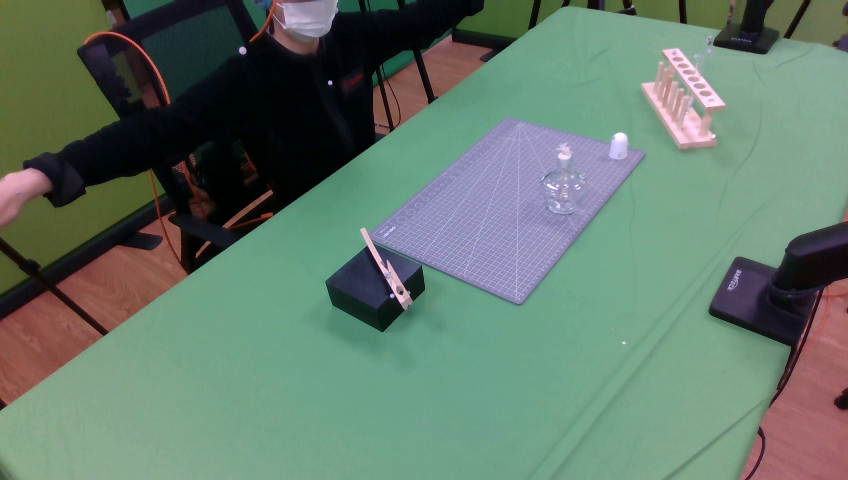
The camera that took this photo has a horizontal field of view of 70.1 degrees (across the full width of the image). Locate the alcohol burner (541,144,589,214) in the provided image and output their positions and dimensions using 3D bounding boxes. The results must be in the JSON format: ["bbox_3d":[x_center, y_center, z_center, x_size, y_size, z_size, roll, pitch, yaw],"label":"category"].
[{"bbox_3d":[0.229,-0.102,0.983,0.078,0.119,0.077,-6,41,5],"label":"alcohol burner"}]

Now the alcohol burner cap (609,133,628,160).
[{"bbox_3d":[0.356,-0.172,1.100,0.034,0.048,0.033,-5,41,5],"label":"alcohol burner cap"}]

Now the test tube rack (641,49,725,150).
[{"bbox_3d":[0.495,-0.279,1.175,0.067,0.085,0.241,-5,41,3],"label":"test tube rack"}]

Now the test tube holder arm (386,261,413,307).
[{"bbox_3d":[-0.037,0.060,0.837,0.010,0.015,0.087,-23,42,-13],"label":"test tube holder arm"}]

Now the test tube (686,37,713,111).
[{"bbox_3d":[0.509,-0.306,1.129,0.017,0.151,0.017,-1,45,1],"label":"test tube"}]

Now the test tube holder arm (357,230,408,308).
[{"bbox_3d":[-0.062,0.038,0.868,0.013,0.015,0.177,-24,42,-15],"label":"test tube holder arm"}]
